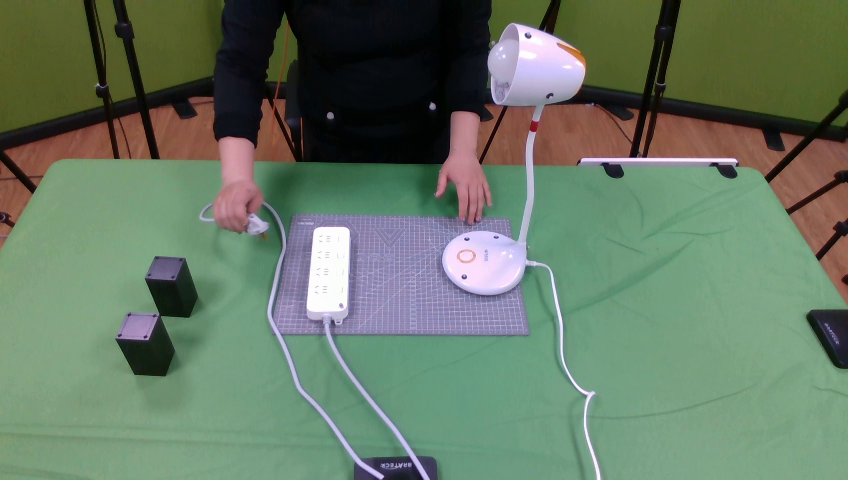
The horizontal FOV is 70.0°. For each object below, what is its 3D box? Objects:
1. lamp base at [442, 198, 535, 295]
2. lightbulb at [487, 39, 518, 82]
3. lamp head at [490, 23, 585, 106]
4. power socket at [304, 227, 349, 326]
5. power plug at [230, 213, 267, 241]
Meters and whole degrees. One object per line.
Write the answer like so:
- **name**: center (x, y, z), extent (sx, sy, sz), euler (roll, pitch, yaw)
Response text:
- **lamp base**: center (0.130, -0.012, 1.105), extent (0.179, 0.181, 0.159), euler (-1, 46, -9)
- **lightbulb**: center (0.143, -0.252, 0.865), extent (0.108, 0.060, 0.059), euler (9, 45, -7)
- **lamp head**: center (0.165, -0.241, 0.872), extent (0.123, 0.113, 0.111), euler (9, 43, -17)
- **power socket**: center (-0.177, 0.059, 1.115), extent (0.072, 0.033, 0.225), euler (-1, 46, -4)
- **power plug**: center (-0.305, -0.024, 1.074), extent (0.072, 0.053, 0.035), euler (9, 36, 46)
